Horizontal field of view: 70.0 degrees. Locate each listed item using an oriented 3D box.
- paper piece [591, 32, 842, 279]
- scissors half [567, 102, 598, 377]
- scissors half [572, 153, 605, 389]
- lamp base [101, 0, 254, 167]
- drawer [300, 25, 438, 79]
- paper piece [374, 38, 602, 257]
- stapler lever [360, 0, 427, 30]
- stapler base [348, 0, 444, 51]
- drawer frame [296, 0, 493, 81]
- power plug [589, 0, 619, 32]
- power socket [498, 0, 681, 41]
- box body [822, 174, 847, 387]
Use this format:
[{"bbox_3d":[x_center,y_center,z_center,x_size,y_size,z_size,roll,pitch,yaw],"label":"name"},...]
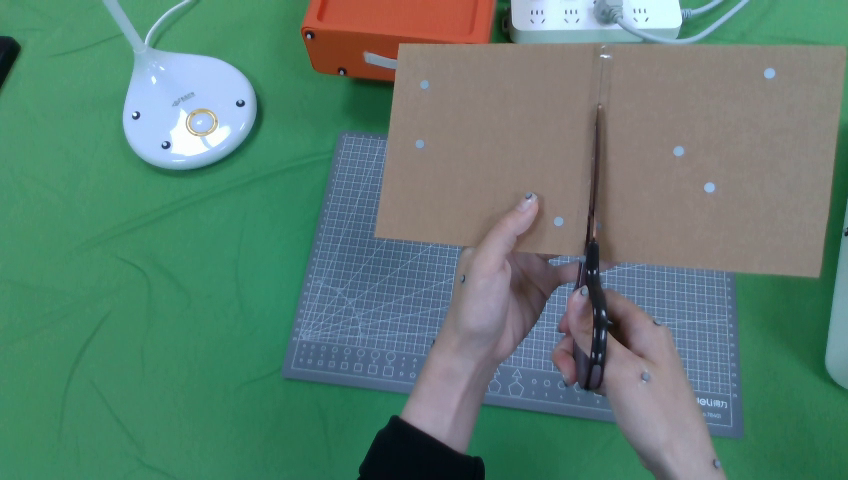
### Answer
[{"bbox_3d":[0.167,-0.052,0.362,0.135,0.004,0.136,8,95,13],"label":"paper piece"},{"bbox_3d":[0.103,0.001,0.386,0.013,0.040,0.175,4,99,7],"label":"scissors half"},{"bbox_3d":[0.101,0.000,0.365,0.013,0.040,0.174,4,76,2],"label":"scissors half"},{"bbox_3d":[-0.300,-0.197,0.669,0.178,0.182,0.160,38,72,20],"label":"lamp base"},{"bbox_3d":[-0.019,-0.288,0.703,0.194,0.074,0.210,7,66,7],"label":"drawer"},{"bbox_3d":[0.039,-0.063,0.389,0.135,0.009,0.138,6,87,16],"label":"paper piece"},{"bbox_3d":[-0.045,-0.276,0.691,0.117,0.040,0.027,36,88,21],"label":"stapler lever"},{"bbox_3d":[-0.037,-0.270,0.715,0.129,0.024,0.041,36,88,19],"label":"stapler base"},{"bbox_3d":[-0.020,-0.290,0.704,0.201,0.083,0.212,7,66,6],"label":"drawer frame"},{"bbox_3d":[0.216,-0.267,0.733,0.035,0.053,0.072,11,67,7],"label":"power plug"},{"bbox_3d":[0.209,-0.284,0.766,0.227,0.033,0.071,1,67,3],"label":"power socket"},{"bbox_3d":[0.547,-0.005,0.556,0.253,0.161,0.362,19,68,11],"label":"box body"}]
